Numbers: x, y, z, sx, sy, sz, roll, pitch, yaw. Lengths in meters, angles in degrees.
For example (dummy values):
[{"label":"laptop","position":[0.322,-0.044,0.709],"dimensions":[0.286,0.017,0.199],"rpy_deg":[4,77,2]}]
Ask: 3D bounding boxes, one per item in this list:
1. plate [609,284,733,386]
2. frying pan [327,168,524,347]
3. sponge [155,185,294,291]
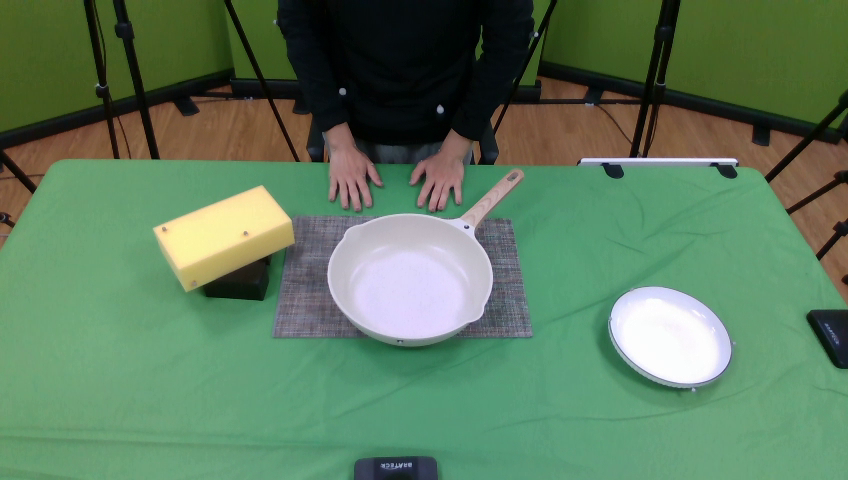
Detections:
[{"label":"plate","position":[0.425,0.167,1.059],"dimensions":[0.208,0.039,0.206],"rpy_deg":[2,46,-2]},{"label":"frying pan","position":[0.042,0.009,1.132],"dimensions":[0.305,0.103,0.487],"rpy_deg":[34,61,24]},{"label":"sponge","position":[-0.354,-0.008,1.085],"dimensions":[0.207,0.061,0.117],"rpy_deg":[-28,54,-27]}]
